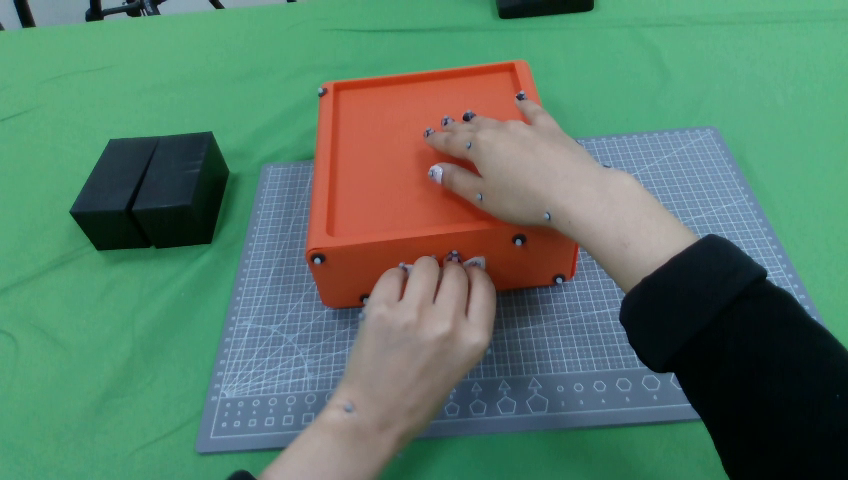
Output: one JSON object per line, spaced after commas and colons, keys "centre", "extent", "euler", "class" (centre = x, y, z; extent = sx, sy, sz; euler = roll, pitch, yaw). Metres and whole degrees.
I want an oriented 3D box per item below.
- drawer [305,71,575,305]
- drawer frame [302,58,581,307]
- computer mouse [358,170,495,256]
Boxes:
{"centre": [0.008, -0.053, 0.517], "extent": [0.194, 0.074, 0.209], "euler": [-7, 48, 2], "class": "drawer"}
{"centre": [0.007, -0.056, 0.518], "extent": [0.202, 0.083, 0.211], "euler": [-7, 47, 1], "class": "drawer frame"}
{"centre": [0.000, -0.024, 0.509], "extent": [0.117, 0.041, 0.062], "euler": [-9, 51, 7], "class": "computer mouse"}
